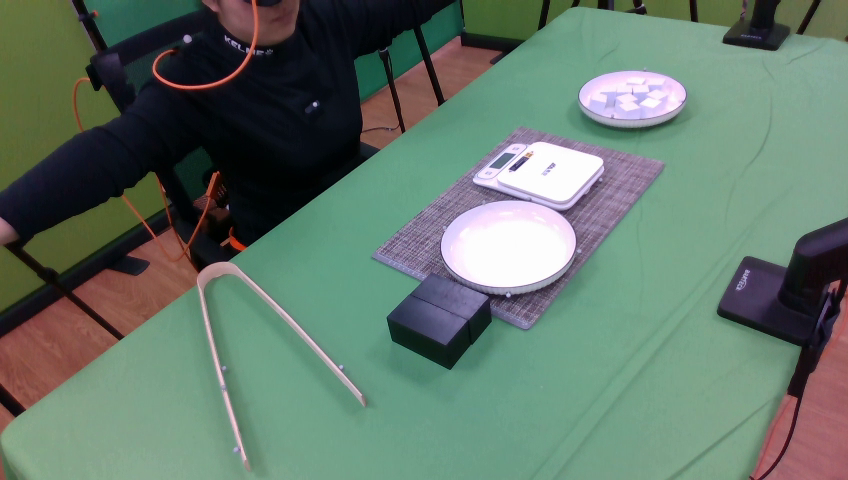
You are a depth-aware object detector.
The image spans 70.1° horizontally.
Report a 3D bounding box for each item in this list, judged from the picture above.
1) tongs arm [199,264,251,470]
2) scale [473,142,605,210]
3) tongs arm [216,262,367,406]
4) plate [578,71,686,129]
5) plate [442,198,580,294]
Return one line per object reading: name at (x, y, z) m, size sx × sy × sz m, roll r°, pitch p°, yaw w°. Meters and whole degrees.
tongs arm at (-0.270, 0.154, 0.840) m, size 0.051 × 0.026 × 0.381 m, roll -23°, pitch 41°, yaw -17°
scale at (0.202, -0.121, 1.074) m, size 0.199 × 0.032 × 0.149 m, roll 23°, pitch 49°, yaw 33°
tongs arm at (-0.201, 0.121, 0.871) m, size 0.028 × 0.028 × 0.384 m, roll -36°, pitch 46°, yaw -24°
plate at (0.416, -0.280, 1.221) m, size 0.209 × 0.038 × 0.208 m, roll -5°, pitch 41°, yaw 5°
plate at (0.132, 0.012, 0.925) m, size 0.207 × 0.039 × 0.206 m, roll -5°, pitch 40°, yaw 5°
